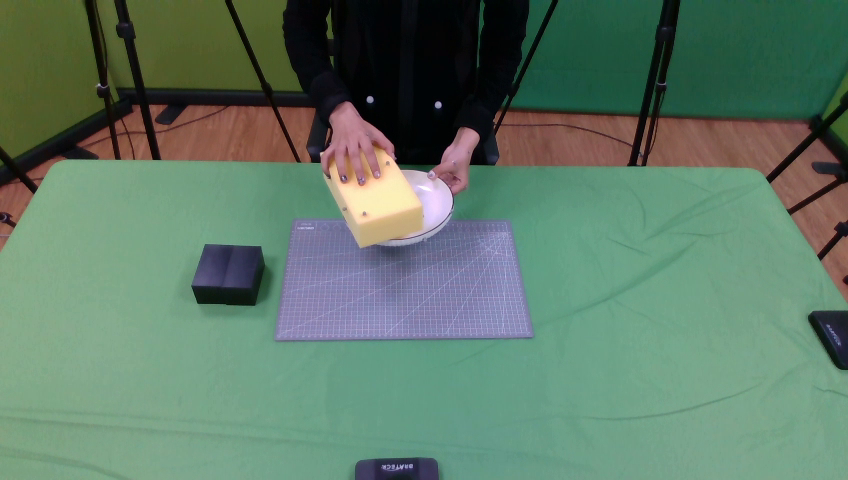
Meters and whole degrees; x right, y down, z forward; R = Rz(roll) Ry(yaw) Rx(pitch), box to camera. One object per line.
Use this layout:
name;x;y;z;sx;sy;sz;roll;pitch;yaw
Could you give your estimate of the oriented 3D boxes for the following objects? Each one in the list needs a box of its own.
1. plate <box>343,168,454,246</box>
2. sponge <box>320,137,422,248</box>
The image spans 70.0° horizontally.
plate;-0.047;-0.058;1.125;0.209;0.038;0.208;-4;43;4
sponge;-0.097;-0.089;1.078;0.118;0.061;0.205;-19;50;-16
